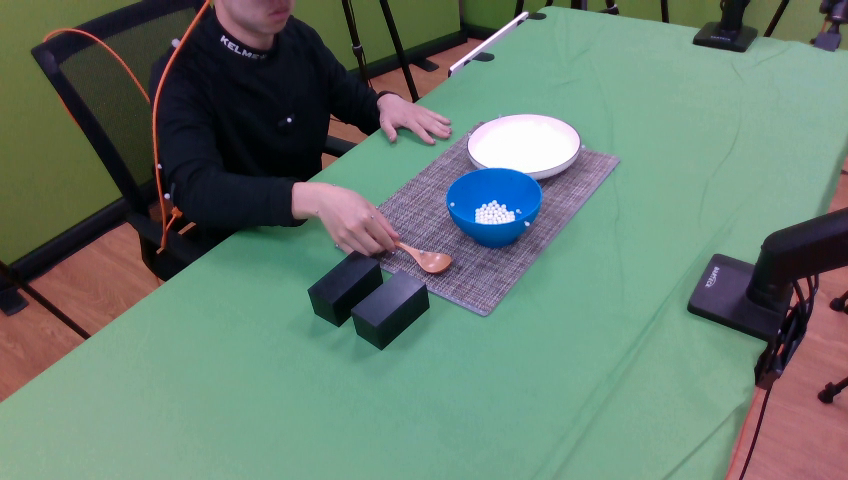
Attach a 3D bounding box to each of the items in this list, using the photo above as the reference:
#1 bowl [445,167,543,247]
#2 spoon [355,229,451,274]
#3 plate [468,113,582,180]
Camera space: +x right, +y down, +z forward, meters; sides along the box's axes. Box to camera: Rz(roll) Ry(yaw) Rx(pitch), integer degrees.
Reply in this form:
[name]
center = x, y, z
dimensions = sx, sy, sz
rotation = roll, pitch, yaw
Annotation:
[bowl]
center = 0.111, -0.042, 0.952
dimensions = 0.151, 0.077, 0.150
rotation = -4, 41, 4
[spoon]
center = -0.037, 0.011, 0.954
dimensions = 0.192, 0.022, 0.042
rotation = 24, 55, 31
[plate]
center = 0.186, -0.169, 1.122
dimensions = 0.207, 0.039, 0.206
rotation = -4, 40, 4
